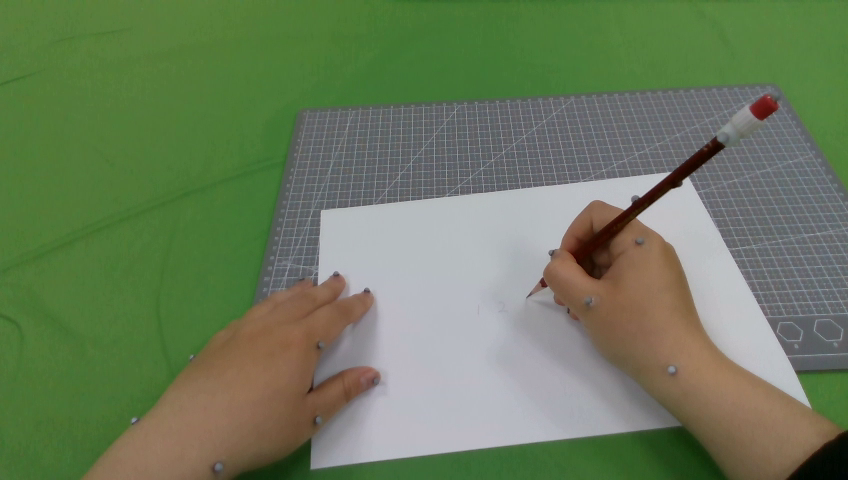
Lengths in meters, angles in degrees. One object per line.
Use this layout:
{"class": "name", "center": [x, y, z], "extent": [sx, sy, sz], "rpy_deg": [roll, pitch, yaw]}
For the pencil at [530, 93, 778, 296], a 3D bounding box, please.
{"class": "pencil", "center": [0.117, -0.013, 0.348], "extent": [0.012, 0.194, 0.012], "rpy_deg": [17, 50, -21]}
